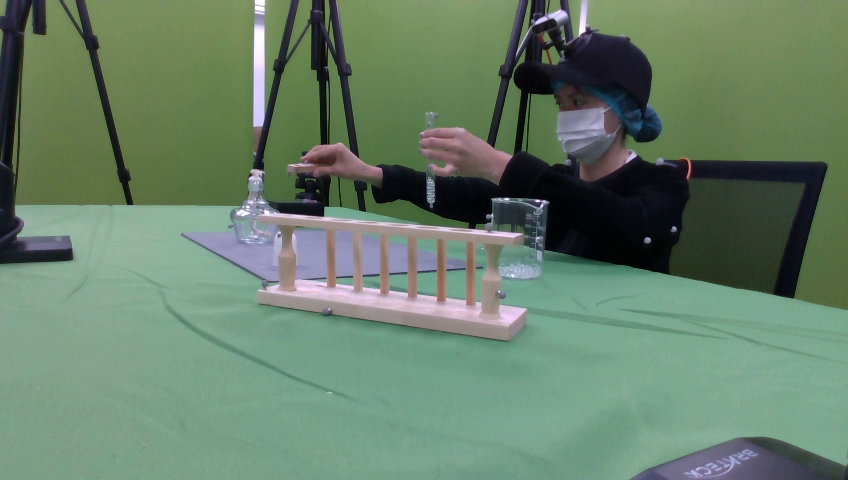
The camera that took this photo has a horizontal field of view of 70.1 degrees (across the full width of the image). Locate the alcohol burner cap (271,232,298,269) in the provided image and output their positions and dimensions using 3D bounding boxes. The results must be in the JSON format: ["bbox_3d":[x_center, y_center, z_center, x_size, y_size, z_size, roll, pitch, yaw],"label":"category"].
[{"bbox_3d":[-0.175,0.012,0.761,0.034,0.048,0.034,2,8,0],"label":"alcohol burner cap"}]

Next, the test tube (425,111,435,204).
[{"bbox_3d":[0.010,-0.134,0.991,0.017,0.150,0.017,-1,9,0],"label":"test tube"}]

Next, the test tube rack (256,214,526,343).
[{"bbox_3d":[-0.032,0.027,0.547,0.241,0.085,0.067,5,7,22],"label":"test tube rack"}]

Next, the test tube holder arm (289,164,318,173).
[{"bbox_3d":[-0.237,-0.141,1.195,0.010,0.015,0.088,24,17,17],"label":"test tube holder arm"}]

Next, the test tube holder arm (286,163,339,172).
[{"bbox_3d":[-0.225,-0.150,1.238,0.013,0.015,0.179,24,17,17],"label":"test tube holder arm"}]

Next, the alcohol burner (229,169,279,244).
[{"bbox_3d":[-0.268,-0.053,0.958,0.078,0.119,0.078,2,5,0],"label":"alcohol burner"}]

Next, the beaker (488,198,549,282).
[{"bbox_3d":[0.120,-0.001,0.768,0.074,0.100,0.083,-1,9,-25],"label":"beaker"}]
